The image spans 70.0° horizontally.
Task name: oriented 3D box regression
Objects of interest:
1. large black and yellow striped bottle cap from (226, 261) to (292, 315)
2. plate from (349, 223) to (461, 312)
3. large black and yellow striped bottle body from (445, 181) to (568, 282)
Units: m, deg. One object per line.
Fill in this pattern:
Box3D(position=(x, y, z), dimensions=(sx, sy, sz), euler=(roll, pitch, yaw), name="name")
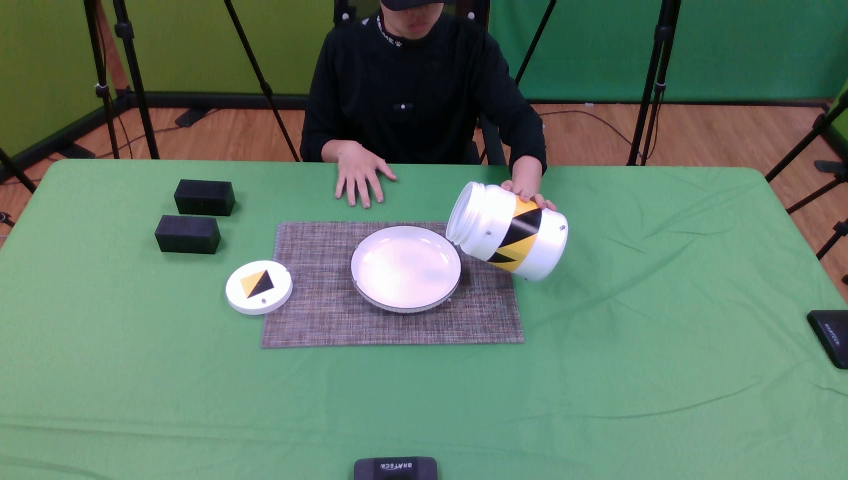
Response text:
Box3D(position=(-0.298, 0.085, 1.092), dimensions=(0.115, 0.019, 0.114), euler=(0, 45, 1), name="large black and yellow striped bottle cap")
Box3D(position=(-0.035, 0.054, 1.126), dimensions=(0.208, 0.039, 0.206), euler=(2, 46, -2), name="plate")
Box3D(position=(0.141, -0.018, 1.053), dimensions=(0.184, 0.131, 0.130), euler=(22, 45, -10), name="large black and yellow striped bottle body")
